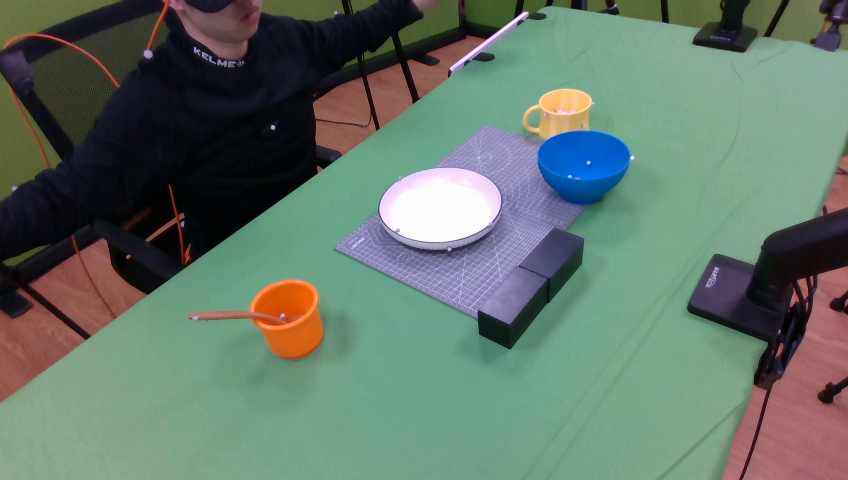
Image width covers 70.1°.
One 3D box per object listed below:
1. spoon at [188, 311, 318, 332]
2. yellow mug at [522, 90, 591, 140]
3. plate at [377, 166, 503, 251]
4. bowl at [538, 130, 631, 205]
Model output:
[{"bbox_3d":[-0.216,0.102,0.783,0.041,0.195,0.021,27,95,39],"label":"spoon"},{"bbox_3d":[0.257,-0.239,1.177,0.131,0.064,0.099,-6,41,3],"label":"yellow mug"},{"bbox_3d":[0.027,-0.050,1.007,0.209,0.038,0.208,-4,41,4],"label":"plate"},{"bbox_3d":[0.265,-0.113,1.014,0.151,0.077,0.150,-4,40,4],"label":"bowl"}]
